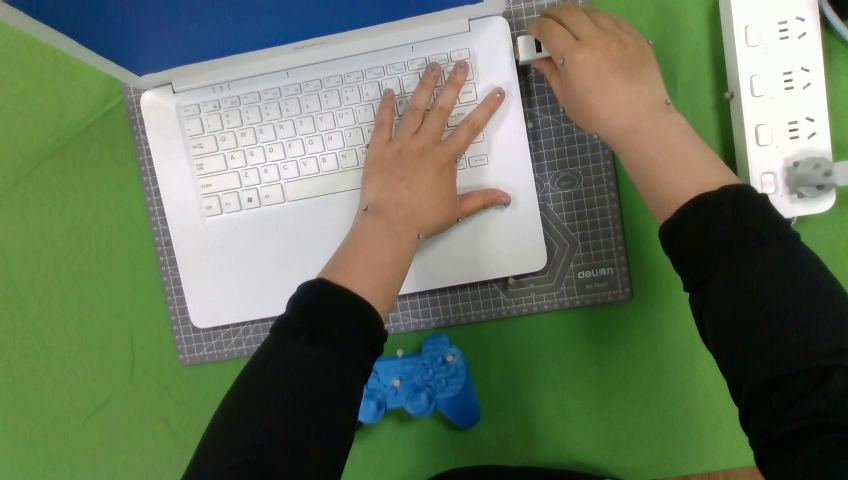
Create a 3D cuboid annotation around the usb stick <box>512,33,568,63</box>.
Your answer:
[{"bbox_3d":[0.096,-0.169,0.536,0.059,0.027,0.021,-3,99,4],"label":"usb stick"}]

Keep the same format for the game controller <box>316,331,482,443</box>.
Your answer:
[{"bbox_3d":[-0.027,0.142,0.577,0.155,0.051,0.097,-9,90,5],"label":"game controller"}]

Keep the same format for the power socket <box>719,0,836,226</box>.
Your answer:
[{"bbox_3d":[0.306,-0.124,0.526,0.072,0.032,0.227,-8,95,8],"label":"power socket"}]

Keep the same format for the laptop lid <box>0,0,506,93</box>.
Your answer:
[{"bbox_3d":[-0.114,-0.179,0.445,0.356,0.242,0.013,-11,86,7],"label":"laptop lid"}]

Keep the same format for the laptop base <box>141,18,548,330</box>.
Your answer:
[{"bbox_3d":[-0.076,-0.057,0.574,0.354,0.023,0.236,-11,98,6],"label":"laptop base"}]

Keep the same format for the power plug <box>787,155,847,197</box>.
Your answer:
[{"bbox_3d":[0.345,-0.053,0.511,0.072,0.052,0.035,3,94,1],"label":"power plug"}]
